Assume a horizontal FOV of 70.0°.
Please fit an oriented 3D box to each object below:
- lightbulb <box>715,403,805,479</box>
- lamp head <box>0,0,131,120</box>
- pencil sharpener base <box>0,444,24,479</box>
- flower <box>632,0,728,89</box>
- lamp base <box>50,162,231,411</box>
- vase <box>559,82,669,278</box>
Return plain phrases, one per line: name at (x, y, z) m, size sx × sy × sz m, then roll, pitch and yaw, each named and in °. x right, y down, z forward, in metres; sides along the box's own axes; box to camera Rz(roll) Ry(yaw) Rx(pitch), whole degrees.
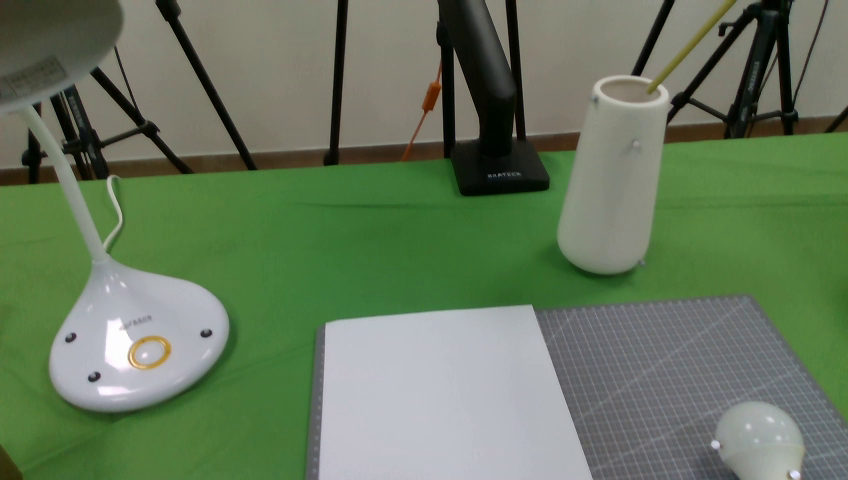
lightbulb at (0.255, 0.173, 0.446) m, size 0.059 × 0.060 × 0.106 m, roll -1°, pitch 53°, yaw 0°
lamp head at (-0.235, -0.137, 0.311) m, size 0.112 × 0.112 × 0.123 m, roll -36°, pitch 87°, yaw -37°
pencil sharpener base at (-0.324, 0.172, 0.415) m, size 0.061 × 0.108 × 0.076 m, roll -23°, pitch 42°, yaw -25°
flower at (0.244, -0.209, 0.349) m, size 0.038 × 0.362 × 0.043 m, roll -1°, pitch 63°, yaw -28°
lamp base at (-0.278, 0.031, 0.539) m, size 0.161 × 0.182 × 0.177 m, roll -31°, pitch 44°, yaw -33°
vase at (0.197, -0.058, 0.631) m, size 0.098 × 0.202 × 0.097 m, roll -1°, pitch 37°, yaw 1°
